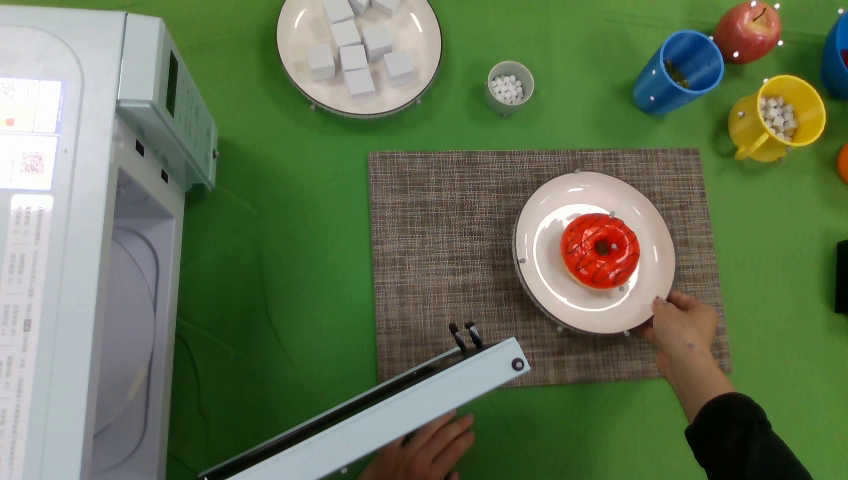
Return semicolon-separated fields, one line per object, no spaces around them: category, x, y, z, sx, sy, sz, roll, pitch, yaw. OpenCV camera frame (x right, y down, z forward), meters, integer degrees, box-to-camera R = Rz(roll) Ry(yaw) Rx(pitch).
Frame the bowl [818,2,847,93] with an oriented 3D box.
bowl;0.616;-0.259;0.849;0.152;0.077;0.151;1;80;-7

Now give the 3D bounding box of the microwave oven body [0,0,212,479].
microwave oven body;-0.391;0.038;0.556;0.327;0.260;0.440;1;80;-8

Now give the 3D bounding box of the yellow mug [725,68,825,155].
yellow mug;0.462;-0.162;0.816;0.100;0.064;0.130;45;78;2

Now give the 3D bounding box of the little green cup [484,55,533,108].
little green cup;0.107;-0.204;0.789;0.062;0.039;0.061;2;78;-7

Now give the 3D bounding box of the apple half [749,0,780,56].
apple half;0.466;-0.292;0.836;0.033;0.081;0.081;4;78;-4

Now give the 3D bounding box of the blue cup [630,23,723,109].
blue cup;0.319;-0.217;0.789;0.093;0.100;0.092;1;80;-8

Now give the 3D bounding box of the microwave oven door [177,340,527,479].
microwave oven door;-0.093;0.180;0.565;0.356;0.244;0.039;-24;82;-12

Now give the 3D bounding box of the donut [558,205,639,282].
donut;0.213;0.004;0.742;0.099;0.048;0.098;2;75;-5

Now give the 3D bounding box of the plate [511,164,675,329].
plate;0.206;0.008;0.751;0.209;0.038;0.208;3;74;-9

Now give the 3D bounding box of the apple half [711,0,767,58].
apple half;0.426;-0.294;0.832;0.053;0.075;0.080;3;82;-4

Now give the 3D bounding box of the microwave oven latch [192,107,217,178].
microwave oven latch;-0.257;-0.114;0.702;0.030;0.029;0.079;2;80;-8

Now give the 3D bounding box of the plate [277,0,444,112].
plate;-0.080;-0.257;0.773;0.208;0.039;0.206;2;79;-8

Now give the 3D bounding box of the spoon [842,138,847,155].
spoon;0.650;-0.100;0.788;0.041;0.191;0.022;-44;131;-13
